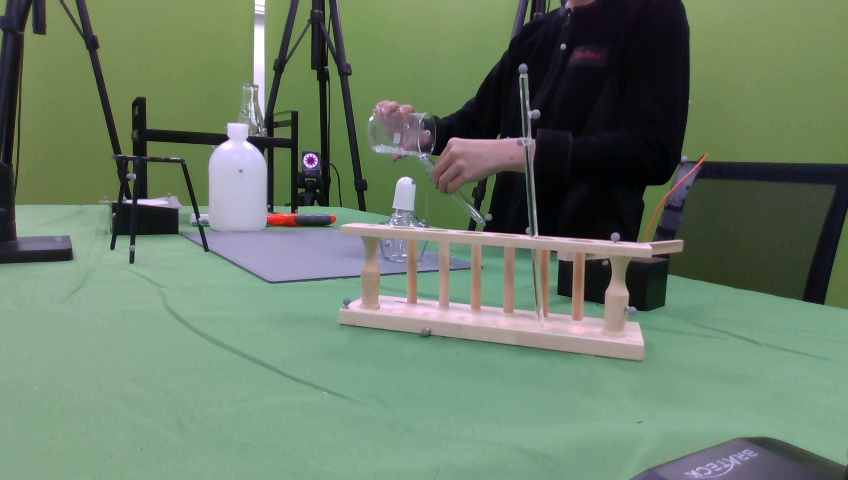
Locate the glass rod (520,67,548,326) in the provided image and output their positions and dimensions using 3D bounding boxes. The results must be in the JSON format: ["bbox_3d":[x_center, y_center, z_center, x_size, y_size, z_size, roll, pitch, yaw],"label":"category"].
[{"bbox_3d":[0.084,-0.029,0.458,0.008,0.199,0.008,-6,11,2],"label":"glass rod"}]

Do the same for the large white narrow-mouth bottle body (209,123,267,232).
[{"bbox_3d":[-0.340,-0.115,1.109,0.102,0.194,0.102,2,8,0],"label":"large white narrow-mouth bottle body"}]

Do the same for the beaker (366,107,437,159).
[{"bbox_3d":[-0.039,-0.179,1.005,0.100,0.084,0.074,7,9,23],"label":"beaker"}]

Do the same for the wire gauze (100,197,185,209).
[{"bbox_3d":[-0.469,-0.062,1.008,0.126,0.011,0.121,-2,8,-25],"label":"wire gauze"}]

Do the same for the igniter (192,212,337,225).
[{"bbox_3d":[-0.311,-0.043,1.203,0.278,0.025,0.057,-1,-5,-25],"label":"igniter"}]

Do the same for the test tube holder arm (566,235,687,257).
[{"bbox_3d":[0.215,0.006,0.630,0.179,0.015,0.013,-3,9,-31],"label":"test tube holder arm"}]

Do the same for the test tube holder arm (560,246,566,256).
[{"bbox_3d":[0.173,0.007,0.611,0.088,0.015,0.010,-3,9,-30],"label":"test tube holder arm"}]

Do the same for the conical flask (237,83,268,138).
[{"bbox_3d":[-0.402,-0.299,1.406,0.075,0.122,0.075,2,7,0],"label":"conical flask"}]

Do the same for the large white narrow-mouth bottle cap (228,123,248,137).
[{"bbox_3d":[-0.338,-0.199,1.097,0.038,0.024,0.037,2,8,0],"label":"large white narrow-mouth bottle cap"}]

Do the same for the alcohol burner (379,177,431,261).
[{"bbox_3d":[-0.027,-0.031,0.838,0.078,0.119,0.078,0,6,0],"label":"alcohol burner"}]

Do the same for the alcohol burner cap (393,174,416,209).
[{"bbox_3d":[-0.025,-0.067,0.834,0.034,0.048,0.034,8,7,-1],"label":"alcohol burner cap"}]

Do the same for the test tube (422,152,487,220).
[{"bbox_3d":[0.048,-0.086,0.968,0.150,0.017,0.017,49,28,19],"label":"test tube"}]

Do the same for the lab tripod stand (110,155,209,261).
[{"bbox_3d":[-0.361,-0.046,0.806,0.148,0.131,0.148,2,5,0],"label":"lab tripod stand"}]

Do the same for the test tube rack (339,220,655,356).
[{"bbox_3d":[0.056,0.032,0.495,0.242,0.085,0.067,4,7,15],"label":"test tube rack"}]
